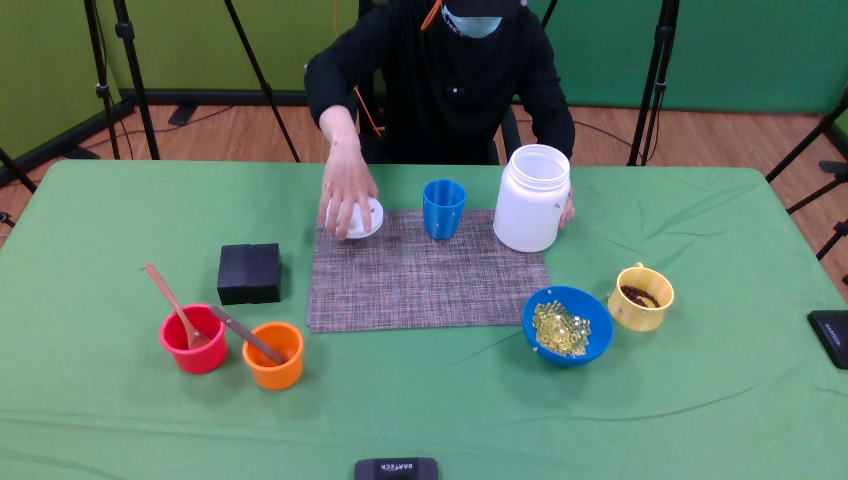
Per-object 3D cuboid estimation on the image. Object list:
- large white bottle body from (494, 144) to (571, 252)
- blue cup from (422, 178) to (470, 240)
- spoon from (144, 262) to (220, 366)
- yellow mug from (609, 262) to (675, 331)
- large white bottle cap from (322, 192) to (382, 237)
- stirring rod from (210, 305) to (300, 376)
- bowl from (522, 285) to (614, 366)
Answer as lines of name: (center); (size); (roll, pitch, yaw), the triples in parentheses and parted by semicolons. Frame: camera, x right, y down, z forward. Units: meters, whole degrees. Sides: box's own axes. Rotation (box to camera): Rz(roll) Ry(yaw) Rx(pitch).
large white bottle body: (0.209, -0.081, 1.171); (0.131, 0.185, 0.130); (1, 46, -1)
blue cup: (0.036, -0.056, 1.192); (0.093, 0.101, 0.092); (3, 46, -3)
spoon: (-0.389, 0.118, 0.970); (0.041, 0.021, 0.194); (-34, 101, -33)
yellow mug: (0.393, 0.094, 1.103); (0.100, 0.064, 0.130); (7, 45, 4)
large white bottle cap: (-0.138, -0.049, 1.164); (0.115, 0.018, 0.114); (3, 44, -3)
stirring rod: (-0.262, 0.158, 0.946); (0.177, 0.006, 0.014); (43, 43, -21)
bowl: (0.235, 0.158, 1.022); (0.151, 0.077, 0.150); (2, 46, -2)
